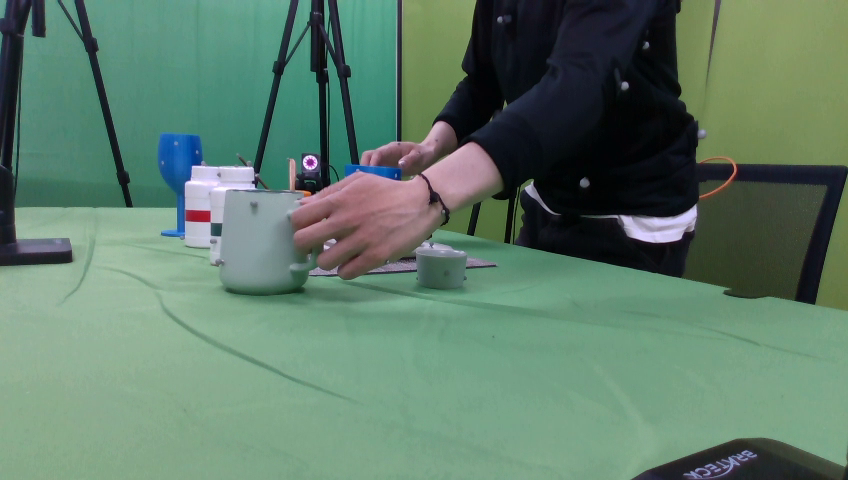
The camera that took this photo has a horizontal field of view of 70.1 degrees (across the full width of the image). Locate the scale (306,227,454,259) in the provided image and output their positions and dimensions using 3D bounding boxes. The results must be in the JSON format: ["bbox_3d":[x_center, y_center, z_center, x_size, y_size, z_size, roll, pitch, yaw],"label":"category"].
[{"bbox_3d":[-0.066,0.001,0.906,0.202,0.031,0.148,-2,8,-31],"label":"scale"}]

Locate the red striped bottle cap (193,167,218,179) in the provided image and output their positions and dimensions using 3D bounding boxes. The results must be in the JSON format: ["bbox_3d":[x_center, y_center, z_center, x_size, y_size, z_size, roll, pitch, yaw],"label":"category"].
[{"bbox_3d":[-0.329,-0.103,0.921,0.044,0.017,0.044,-1,9,0],"label":"red striped bottle cap"}]

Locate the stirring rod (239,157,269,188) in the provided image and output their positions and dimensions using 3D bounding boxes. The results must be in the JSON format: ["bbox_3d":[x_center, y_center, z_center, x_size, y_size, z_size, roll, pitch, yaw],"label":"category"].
[{"bbox_3d":[-0.309,-0.098,1.209,0.006,0.177,0.014,-39,29,-4],"label":"stirring rod"}]

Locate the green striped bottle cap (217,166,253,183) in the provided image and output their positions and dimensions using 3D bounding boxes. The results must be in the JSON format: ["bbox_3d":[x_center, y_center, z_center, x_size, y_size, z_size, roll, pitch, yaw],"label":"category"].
[{"bbox_3d":[-0.242,-0.085,0.777,0.044,0.020,0.044,2,9,0],"label":"green striped bottle cap"}]

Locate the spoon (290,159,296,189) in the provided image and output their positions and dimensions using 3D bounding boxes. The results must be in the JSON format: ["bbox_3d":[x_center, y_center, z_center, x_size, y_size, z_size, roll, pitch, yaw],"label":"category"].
[{"bbox_3d":[-0.273,-0.102,1.252,0.042,0.193,0.021,7,-38,-17],"label":"spoon"}]

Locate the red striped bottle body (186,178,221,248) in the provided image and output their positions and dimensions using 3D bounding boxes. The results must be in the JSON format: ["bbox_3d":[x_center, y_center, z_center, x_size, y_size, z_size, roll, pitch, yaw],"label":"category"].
[{"bbox_3d":[-0.331,-0.049,0.927,0.063,0.119,0.063,2,6,0],"label":"red striped bottle body"}]

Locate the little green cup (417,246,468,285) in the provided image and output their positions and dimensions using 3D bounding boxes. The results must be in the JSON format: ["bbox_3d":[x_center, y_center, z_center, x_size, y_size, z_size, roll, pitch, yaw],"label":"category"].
[{"bbox_3d":[0.021,0.029,0.702,0.061,0.038,0.061,2,7,0],"label":"little green cup"}]

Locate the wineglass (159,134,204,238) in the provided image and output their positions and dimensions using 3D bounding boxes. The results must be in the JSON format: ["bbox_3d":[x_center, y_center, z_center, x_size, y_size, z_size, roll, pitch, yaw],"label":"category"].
[{"bbox_3d":[-0.415,-0.093,1.039,0.074,0.172,0.073,2,7,0],"label":"wineglass"}]

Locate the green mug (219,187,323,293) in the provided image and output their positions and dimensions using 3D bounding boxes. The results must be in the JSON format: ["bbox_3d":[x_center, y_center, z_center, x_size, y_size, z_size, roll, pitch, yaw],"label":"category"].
[{"bbox_3d":[-0.154,0.000,0.631,0.125,0.105,0.093,6,8,32],"label":"green mug"}]

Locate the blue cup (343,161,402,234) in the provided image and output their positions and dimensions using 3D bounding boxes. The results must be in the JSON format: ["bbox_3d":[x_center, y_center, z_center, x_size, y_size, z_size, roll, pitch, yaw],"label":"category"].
[{"bbox_3d":[-0.078,-0.062,0.884,0.093,0.100,0.092,4,6,0],"label":"blue cup"}]

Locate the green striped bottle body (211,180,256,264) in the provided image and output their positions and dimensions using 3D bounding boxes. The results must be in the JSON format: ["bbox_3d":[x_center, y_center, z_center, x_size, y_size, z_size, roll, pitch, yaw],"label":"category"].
[{"bbox_3d":[-0.243,-0.029,0.784,0.063,0.119,0.063,2,7,0],"label":"green striped bottle body"}]
